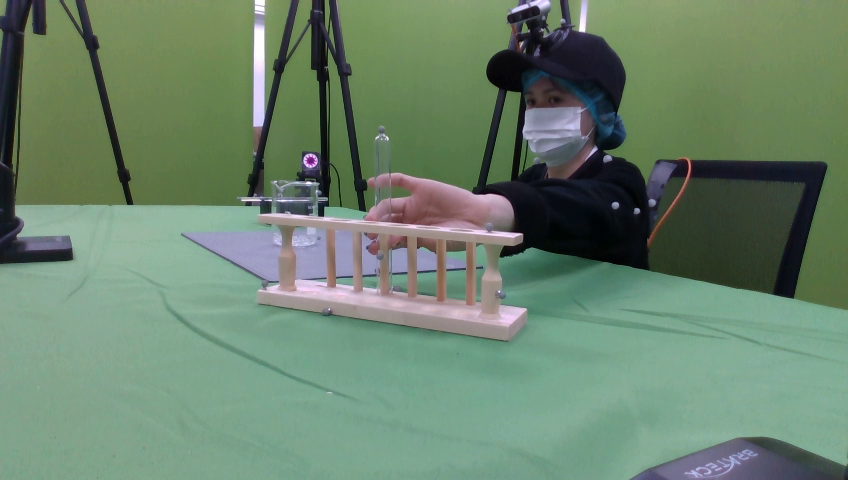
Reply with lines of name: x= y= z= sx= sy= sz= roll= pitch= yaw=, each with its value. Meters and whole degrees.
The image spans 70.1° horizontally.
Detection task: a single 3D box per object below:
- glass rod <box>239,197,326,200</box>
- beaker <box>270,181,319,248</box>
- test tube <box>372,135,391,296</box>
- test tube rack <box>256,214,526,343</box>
glass rod: x=-0.288 y=-0.086 z=1.250 sx=0.201 sy=0.008 sz=0.008 roll=-4 pitch=10 yaw=-42
beaker: x=-0.203 y=-0.040 z=0.935 sx=0.074 sy=0.100 sz=0.084 roll=5 pitch=8 yaw=18
test tube: x=-0.039 y=-0.021 z=0.561 sx=0.017 sy=0.150 sz=0.017 roll=0 pitch=9 yaw=0
test tube rack: x=-0.032 y=0.027 z=0.546 sx=0.241 sy=0.085 sz=0.067 roll=5 pitch=7 yaw=22
